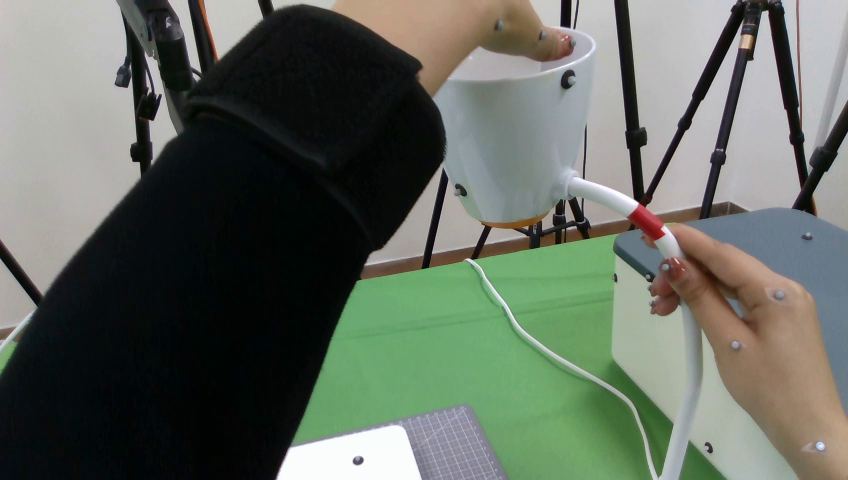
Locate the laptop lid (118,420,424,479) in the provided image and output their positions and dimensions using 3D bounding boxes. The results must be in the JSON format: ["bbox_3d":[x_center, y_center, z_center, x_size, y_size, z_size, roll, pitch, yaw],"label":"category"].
[{"bbox_3d":[-0.161,0.261,0.486,0.357,0.013,0.239,-8,29,-11],"label":"laptop lid"}]

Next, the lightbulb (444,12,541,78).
[{"bbox_3d":[0.048,-0.091,0.390,0.059,0.109,0.059,-11,36,8],"label":"lightbulb"}]

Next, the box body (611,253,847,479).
[{"bbox_3d":[0.380,0.121,0.592,0.255,0.161,0.360,-10,27,-15],"label":"box body"}]

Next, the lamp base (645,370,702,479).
[{"bbox_3d":[0.168,0.195,0.438,0.160,0.181,0.179,9,26,20],"label":"lamp base"}]

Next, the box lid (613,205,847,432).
[{"bbox_3d":[0.377,0.053,0.560,0.264,0.015,0.367,-9,27,-15],"label":"box lid"}]

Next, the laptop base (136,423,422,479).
[{"bbox_3d":[-0.161,0.271,0.493,0.355,0.023,0.233,-9,30,-13],"label":"laptop base"}]

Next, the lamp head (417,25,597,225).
[{"bbox_3d":[0.060,-0.071,0.403,0.112,0.124,0.111,-10,29,6],"label":"lamp head"}]
